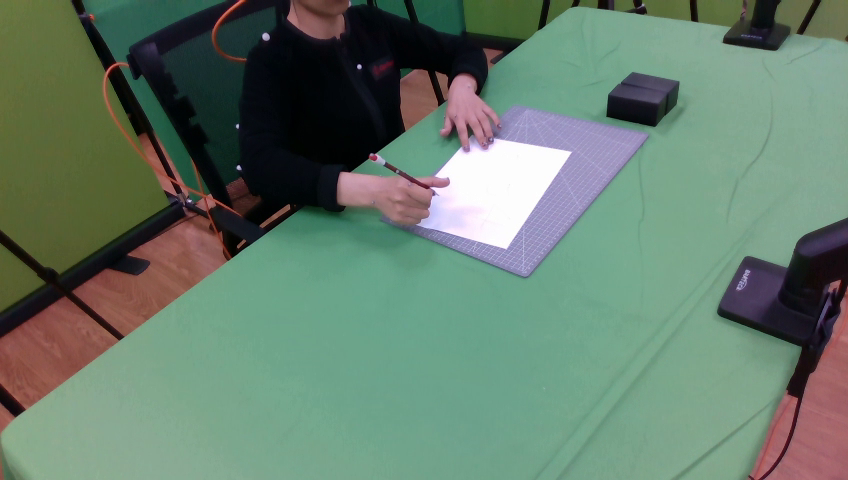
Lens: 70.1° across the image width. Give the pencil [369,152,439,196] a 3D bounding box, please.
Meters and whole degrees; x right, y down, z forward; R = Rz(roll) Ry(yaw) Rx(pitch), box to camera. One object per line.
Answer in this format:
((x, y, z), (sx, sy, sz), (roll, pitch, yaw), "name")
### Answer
((-0.026, -0.099, 0.944), (0.012, 0.196, 0.012), (-9, 71, 30), "pencil")
